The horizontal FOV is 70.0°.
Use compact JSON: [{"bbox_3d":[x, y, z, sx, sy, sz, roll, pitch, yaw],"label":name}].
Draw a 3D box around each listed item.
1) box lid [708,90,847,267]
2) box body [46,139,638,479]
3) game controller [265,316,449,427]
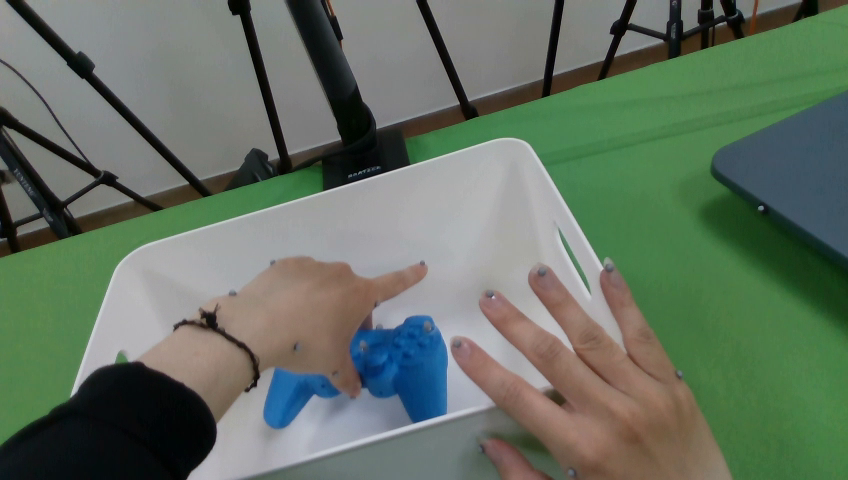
[{"bbox_3d":[0.455,-0.032,0.492,0.263,0.015,0.367,-24,40,-8],"label":"box lid"},{"bbox_3d":[-0.049,0.094,0.475,0.364,0.162,0.251,-17,40,1],"label":"box body"},{"bbox_3d":[-0.054,0.105,0.501,0.155,0.052,0.096,-2,39,14],"label":"game controller"}]
